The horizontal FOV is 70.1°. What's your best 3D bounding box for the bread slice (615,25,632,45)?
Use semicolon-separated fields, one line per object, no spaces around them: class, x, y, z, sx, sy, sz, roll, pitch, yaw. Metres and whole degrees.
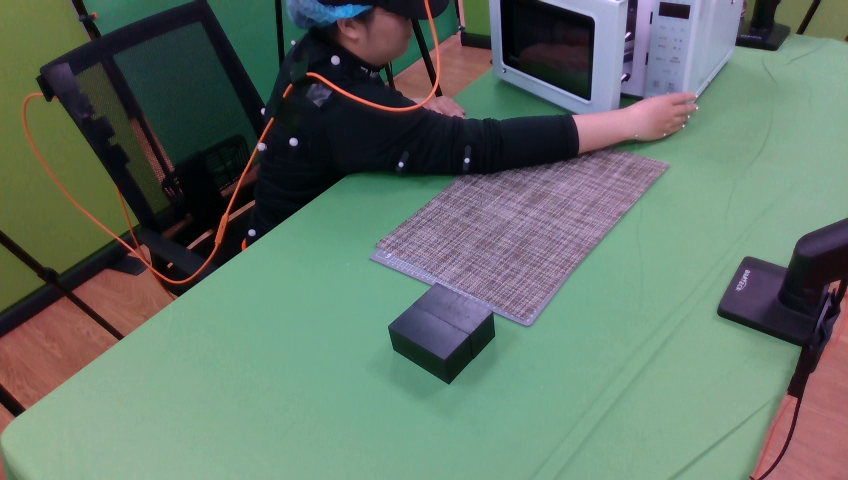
bread slice;0.394;-0.452;1.344;0.105;0.019;0.130;-37;41;-26

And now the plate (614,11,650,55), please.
plate;0.390;-0.454;1.339;0.209;0.038;0.208;-5;39;5

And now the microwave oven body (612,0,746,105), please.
microwave oven body;0.417;-0.486;1.290;0.438;0.261;0.327;21;50;33

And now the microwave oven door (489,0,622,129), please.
microwave oven door;0.254;-0.393;1.204;0.039;0.245;0.352;-29;44;-21

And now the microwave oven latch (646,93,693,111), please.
microwave oven latch;0.476;-0.273;1.177;0.078;0.029;0.030;20;49;32
